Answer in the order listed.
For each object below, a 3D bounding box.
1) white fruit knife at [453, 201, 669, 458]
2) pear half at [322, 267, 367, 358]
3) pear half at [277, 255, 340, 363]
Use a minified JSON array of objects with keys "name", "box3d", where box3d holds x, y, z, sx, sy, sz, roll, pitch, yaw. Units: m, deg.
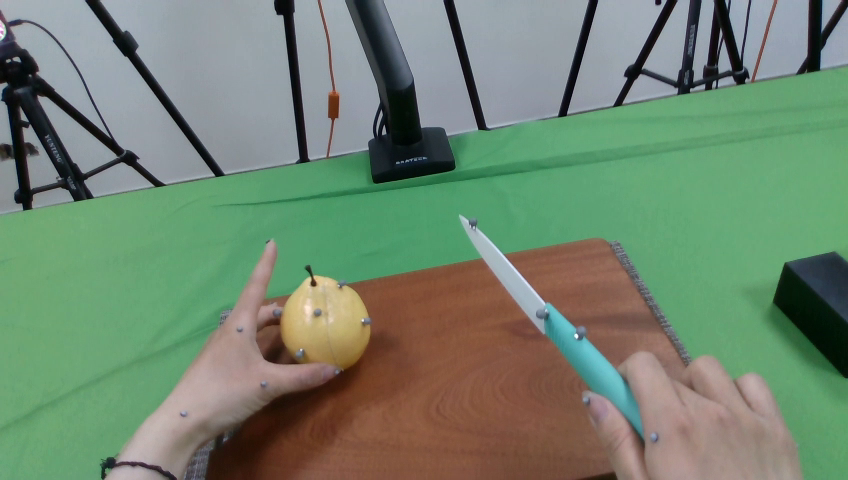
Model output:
[{"name":"white fruit knife","box3d":[0.078,0.045,0.383,0.016,0.027,0.205,-23,59,-30]},{"name":"pear half","box3d":[-0.067,0.061,0.534,0.031,0.089,0.070,-6,31,0]},{"name":"pear half","box3d":[-0.103,0.056,0.529,0.056,0.111,0.075,-7,35,0]}]
